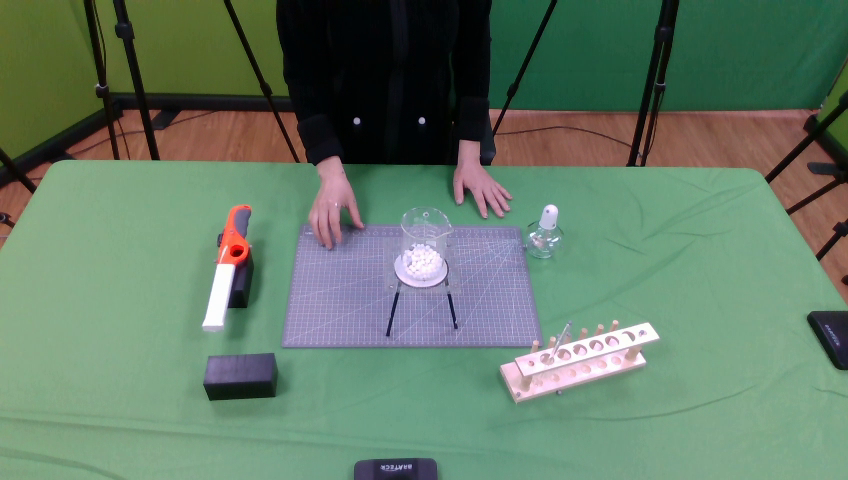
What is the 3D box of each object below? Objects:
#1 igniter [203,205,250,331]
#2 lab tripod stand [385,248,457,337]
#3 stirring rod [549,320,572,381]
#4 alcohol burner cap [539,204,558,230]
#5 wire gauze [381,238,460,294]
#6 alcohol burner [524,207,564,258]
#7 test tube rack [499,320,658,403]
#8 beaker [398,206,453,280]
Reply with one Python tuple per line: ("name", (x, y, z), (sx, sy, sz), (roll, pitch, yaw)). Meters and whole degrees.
("igniter", (-0.345, 0.038, 1.065), (0.057, 0.025, 0.274), (3, 49, -6))
("lab tripod stand", (-0.010, 0.087, 1.032), (0.148, 0.132, 0.147), (1, 45, -1))
("stirring rod", (0.202, 0.167, 0.901), (0.006, 0.177, 0.014), (-17, 54, -11))
("alcohol burner cap", (0.238, -0.046, 1.148), (0.034, 0.048, 0.033), (2, 43, -1))
("wire gauze", (-0.007, 0.042, 0.985), (0.125, 0.011, 0.120), (-1, 43, -2))
("alcohol burner", (0.236, -0.021, 1.174), (0.078, 0.120, 0.077), (1, 48, -1))
("test tube rack", (0.252, 0.187, 0.994), (0.243, 0.085, 0.066), (-12, 48, -15))
("beaker", (0.000, 0.008, 0.950), (0.084, 0.101, 0.073), (10, 45, 6))
